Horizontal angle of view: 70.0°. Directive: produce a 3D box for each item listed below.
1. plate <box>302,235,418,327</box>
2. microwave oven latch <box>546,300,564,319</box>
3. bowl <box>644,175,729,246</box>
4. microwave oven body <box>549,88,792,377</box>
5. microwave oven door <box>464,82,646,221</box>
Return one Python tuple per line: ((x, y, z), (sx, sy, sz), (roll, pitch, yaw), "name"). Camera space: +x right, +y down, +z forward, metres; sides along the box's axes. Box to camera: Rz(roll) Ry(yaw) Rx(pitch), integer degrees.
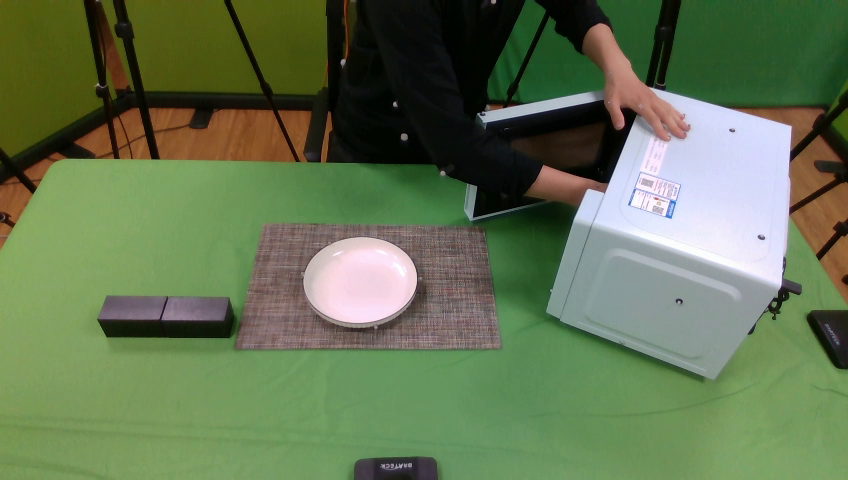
((-0.114, 0.077, 1.098), (0.208, 0.039, 0.206), (2, 46, -2), "plate")
((0.242, 0.102, 1.081), (0.030, 0.029, 0.079), (22, 48, 17), "microwave oven latch")
((0.478, -0.041, 1.136), (0.151, 0.077, 0.150), (3, 50, -3), "bowl")
((0.456, -0.028, 1.088), (0.325, 0.261, 0.440), (20, 47, 16), "microwave oven body")
((0.258, -0.176, 1.208), (0.356, 0.245, 0.039), (-14, 48, -17), "microwave oven door")
